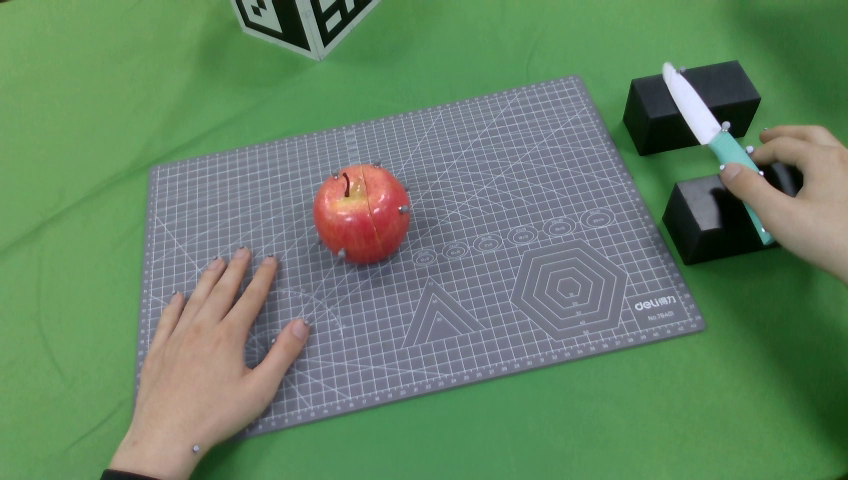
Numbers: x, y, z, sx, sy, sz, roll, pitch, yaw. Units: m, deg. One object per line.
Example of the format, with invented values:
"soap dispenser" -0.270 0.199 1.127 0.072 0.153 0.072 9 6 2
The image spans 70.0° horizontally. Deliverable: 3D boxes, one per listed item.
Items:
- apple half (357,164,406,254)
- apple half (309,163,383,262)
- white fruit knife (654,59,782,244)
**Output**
"apple half" -0.031 -0.028 0.513 0.033 0.082 0.080 -16 56 2
"apple half" -0.068 -0.018 0.513 0.053 0.075 0.080 -16 61 2
"white fruit knife" 0.236 -0.084 0.500 0.027 0.016 0.205 -19 56 6
